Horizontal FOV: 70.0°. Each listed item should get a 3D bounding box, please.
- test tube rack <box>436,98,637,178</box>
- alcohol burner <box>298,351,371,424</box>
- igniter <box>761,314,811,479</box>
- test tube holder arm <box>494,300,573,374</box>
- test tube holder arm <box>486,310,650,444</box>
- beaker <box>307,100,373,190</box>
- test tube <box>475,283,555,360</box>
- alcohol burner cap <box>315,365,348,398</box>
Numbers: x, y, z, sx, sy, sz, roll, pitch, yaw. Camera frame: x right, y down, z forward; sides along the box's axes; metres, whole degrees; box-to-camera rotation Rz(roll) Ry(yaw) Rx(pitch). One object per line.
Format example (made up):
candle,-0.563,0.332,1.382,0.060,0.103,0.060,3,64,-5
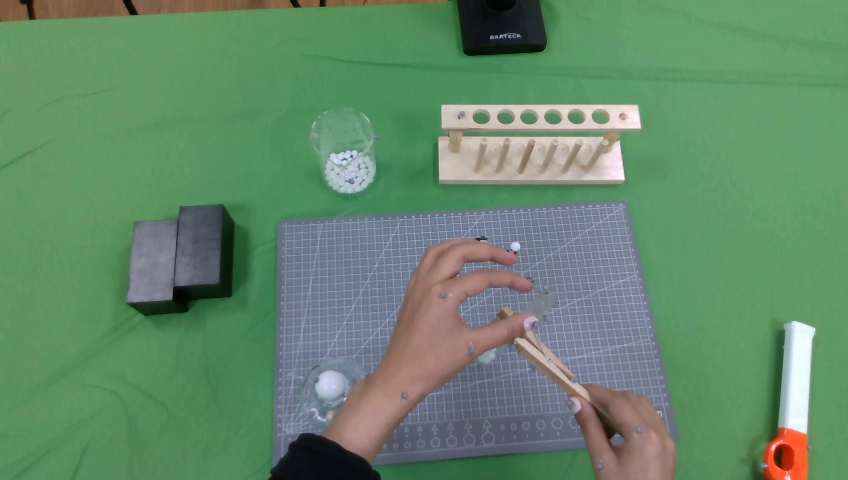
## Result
test tube rack,0.138,-0.127,0.770,0.242,0.085,0.066,0,69,-2
alcohol burner,-0.095,0.151,0.636,0.078,0.120,0.077,1,67,-3
igniter,0.407,0.215,0.677,0.057,0.025,0.275,20,69,-5
test tube holder arm,0.099,0.090,0.546,0.087,0.015,0.010,47,56,5
test tube holder arm,0.128,0.123,0.541,0.178,0.015,0.013,40,56,1
beaker,-0.099,-0.110,0.747,0.074,0.101,0.083,-1,69,-2
test tube,0.078,0.078,0.548,0.017,0.151,0.017,9,57,-14
alcohol burner cap,-0.094,0.139,0.601,0.034,0.048,0.033,1,73,-2
